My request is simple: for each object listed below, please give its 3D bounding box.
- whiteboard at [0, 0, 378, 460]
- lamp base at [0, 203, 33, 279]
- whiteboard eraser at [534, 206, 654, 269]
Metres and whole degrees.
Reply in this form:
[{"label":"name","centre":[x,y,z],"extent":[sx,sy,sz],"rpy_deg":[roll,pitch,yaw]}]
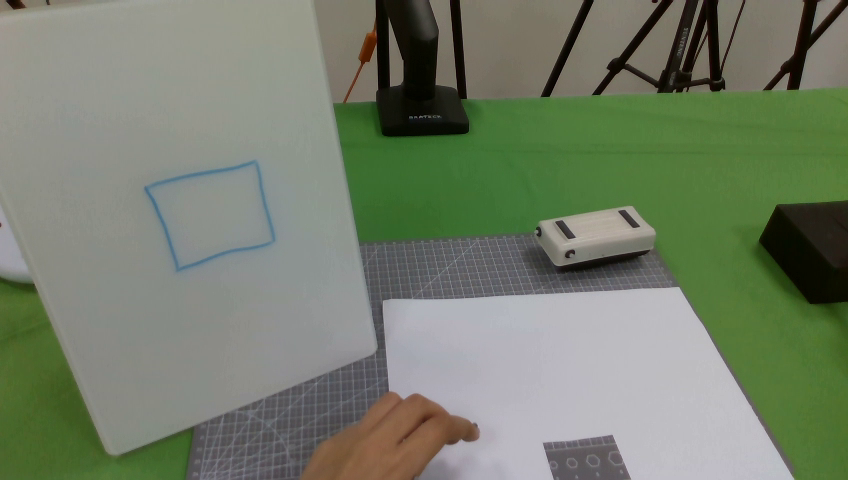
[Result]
[{"label":"whiteboard","centre":[-0.183,-0.029,0.478],"extent":[0.218,0.307,0.142],"rpy_deg":[-18,25,-22]},{"label":"lamp base","centre":[-0.373,-0.080,0.575],"extent":[0.178,0.182,0.160],"rpy_deg":[23,44,25]},{"label":"whiteboard eraser","centre":[0.176,-0.001,0.629],"extent":[0.113,0.042,0.055],"rpy_deg":[-9,43,-15]}]
